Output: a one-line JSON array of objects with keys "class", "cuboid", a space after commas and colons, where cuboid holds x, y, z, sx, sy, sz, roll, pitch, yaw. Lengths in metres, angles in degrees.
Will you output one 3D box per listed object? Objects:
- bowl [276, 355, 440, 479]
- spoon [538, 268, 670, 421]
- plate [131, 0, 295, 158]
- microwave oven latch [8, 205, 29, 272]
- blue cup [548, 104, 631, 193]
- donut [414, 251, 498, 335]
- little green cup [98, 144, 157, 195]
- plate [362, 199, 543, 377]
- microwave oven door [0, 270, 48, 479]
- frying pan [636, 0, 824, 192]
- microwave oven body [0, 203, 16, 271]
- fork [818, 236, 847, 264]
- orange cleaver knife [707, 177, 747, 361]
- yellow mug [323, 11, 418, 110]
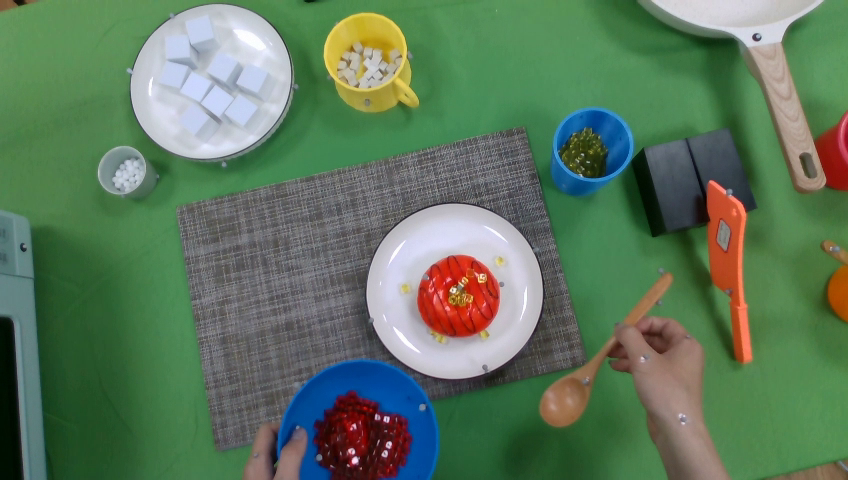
[{"class": "bowl", "cuboid": [-0.068, 0.190, 0.597, 0.152, 0.077, 0.150, 3, 77, -12]}, {"class": "spoon", "cuboid": [0.183, 0.105, 0.608, 0.041, 0.022, 0.194, 43, 100, 33]}, {"class": "plate", "cuboid": [-0.264, -0.202, 0.772, 0.207, 0.039, 0.207, 0, 81, 3]}, {"class": "microwave oven latch", "cuboid": [-0.500, 0.000, 0.734, 0.030, 0.029, 0.079, -8, 82, 1]}, {"class": "blue cup", "cuboid": [0.182, -0.097, 0.701, 0.092, 0.100, 0.092, 0, 79, 2]}, {"class": "donut", "cuboid": [0.037, 0.062, 0.701, 0.099, 0.048, 0.099, 0, 85, 3]}, {"class": "little green cup", "cuboid": [-0.368, -0.085, 0.757, 0.061, 0.039, 0.061, 0, 82, 2]}, {"class": "plate", "cuboid": [0.033, 0.056, 0.713, 0.209, 0.038, 0.208, 0, 82, 3]}, {"class": "microwave oven door", "cuboid": [-0.472, 0.197, 0.600, 0.039, 0.244, 0.354, -10, 81, 2]}, {"class": "frying pan", "cuboid": [0.379, -0.284, 0.717, 0.307, 0.103, 0.484, -8, 73, 3]}, {"class": "microwave oven body", "cuboid": [-0.623, 0.181, 0.615, 0.326, 0.261, 0.440, -10, 81, 1]}, {"class": "fork", "cuboid": [0.462, 0.033, 0.642, 0.209, 0.018, 0.028, 23, 80, -37]}, {"class": "orange cleaver knife", "cuboid": [0.340, 0.034, 0.683, 0.012, 0.076, 0.212, -13, 110, 2]}, {"class": "yellow mug", "cuboid": [-0.058, -0.211, 0.748, 0.130, 0.064, 0.100, 40, 85, 7]}]
